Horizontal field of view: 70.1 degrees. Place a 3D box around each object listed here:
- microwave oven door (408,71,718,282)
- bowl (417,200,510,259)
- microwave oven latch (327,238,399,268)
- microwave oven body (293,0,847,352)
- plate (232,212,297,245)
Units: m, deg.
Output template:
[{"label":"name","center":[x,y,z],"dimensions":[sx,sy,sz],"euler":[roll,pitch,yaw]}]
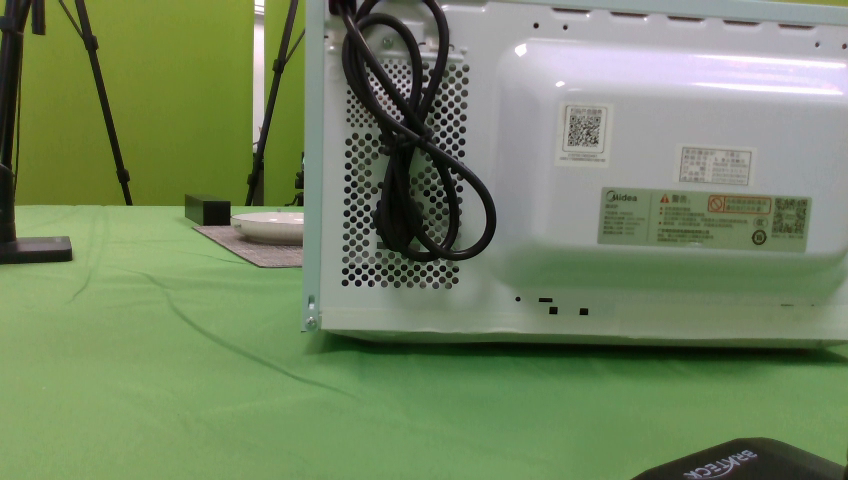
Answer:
[{"label":"microwave oven door","center":[0.160,-0.084,0.751],"dimensions":[0.355,0.243,0.039],"euler":[4,9,13]},{"label":"bowl","center":[0.059,-0.016,0.977],"dimensions":[0.151,0.077,0.151],"euler":[5,11,-1]},{"label":"microwave oven latch","center":[-0.069,0.015,0.694],"dimensions":[0.079,0.029,0.030],"euler":[3,7,-3]},{"label":"microwave oven body","center":[0.122,-0.055,0.550],"dimensions":[0.442,0.260,0.325],"euler":[3,7,-5]},{"label":"plate","center":[-0.214,-0.019,1.018],"dimensions":[0.208,0.039,0.207],"euler":[2,7,0]}]
